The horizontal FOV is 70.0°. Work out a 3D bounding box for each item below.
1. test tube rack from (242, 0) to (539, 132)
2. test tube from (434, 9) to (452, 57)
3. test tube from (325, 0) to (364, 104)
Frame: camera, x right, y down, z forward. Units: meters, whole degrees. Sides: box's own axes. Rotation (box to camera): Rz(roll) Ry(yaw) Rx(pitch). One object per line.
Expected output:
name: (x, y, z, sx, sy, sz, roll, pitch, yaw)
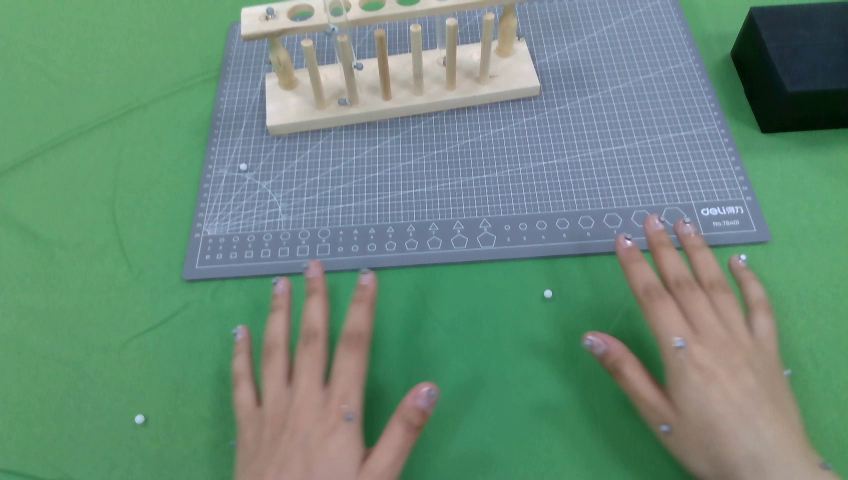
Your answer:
test tube rack: (-0.023, -0.163, 0.520, 0.242, 0.086, 0.066, -9, 59, -2)
test tube: (0.013, -0.212, 0.490, 0.017, 0.151, 0.017, -3, 54, 5)
test tube: (-0.064, -0.164, 0.472, 0.017, 0.152, 0.017, -2, 57, 3)
